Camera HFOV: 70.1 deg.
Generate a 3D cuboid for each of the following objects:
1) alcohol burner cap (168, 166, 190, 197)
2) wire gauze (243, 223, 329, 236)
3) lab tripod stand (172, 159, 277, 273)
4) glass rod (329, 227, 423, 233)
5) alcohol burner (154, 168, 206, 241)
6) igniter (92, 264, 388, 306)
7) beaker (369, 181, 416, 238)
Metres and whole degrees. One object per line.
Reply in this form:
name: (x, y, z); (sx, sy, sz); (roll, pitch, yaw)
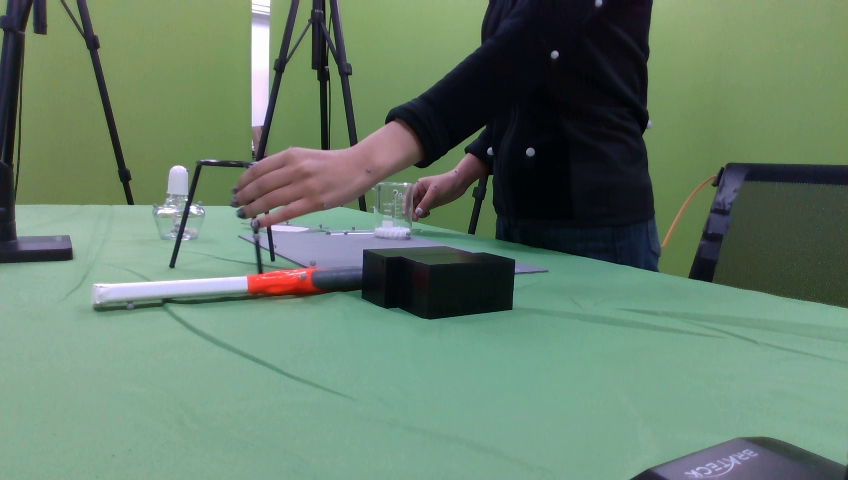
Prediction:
alcohol burner cap: (-0.392, -0.095, 0.970); (0.034, 0.048, 0.034); (8, 8, -1)
wire gauze: (-0.266, -0.024, 1.156); (0.124, 0.011, 0.122); (12, 12, 40)
lab tripod stand: (-0.228, -0.031, 0.729); (0.148, 0.131, 0.148); (2, 9, 0)
glass rod: (-0.087, -0.020, 1.148); (0.201, 0.008, 0.008); (-3, 8, -32)
alcohol burner: (-0.394, -0.059, 0.974); (0.078, 0.119, 0.078); (1, 8, 0)
igniter: (-0.164, 0.042, 0.589); (0.278, 0.025, 0.057); (-2, -6, -31)
beaker: (-0.057, -0.056, 1.090); (0.084, 0.100, 0.074); (2, 7, 0)
